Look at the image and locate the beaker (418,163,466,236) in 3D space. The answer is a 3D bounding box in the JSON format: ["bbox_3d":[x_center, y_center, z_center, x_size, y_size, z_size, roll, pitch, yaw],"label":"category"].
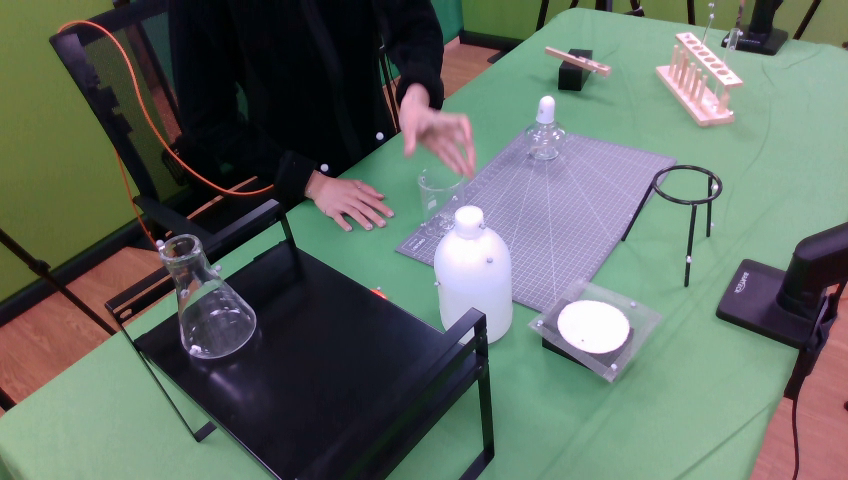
[{"bbox_3d":[0.035,-0.065,0.990,0.073,0.101,0.084,24,49,32],"label":"beaker"}]

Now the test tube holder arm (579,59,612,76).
[{"bbox_3d":[0.362,-0.368,1.289,0.010,0.015,0.087,-25,43,-31],"label":"test tube holder arm"}]

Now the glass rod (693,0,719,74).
[{"bbox_3d":[0.560,-0.401,1.214,0.008,0.200,0.008,-1,49,2],"label":"glass rod"}]

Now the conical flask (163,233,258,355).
[{"bbox_3d":[-0.216,0.051,0.601,0.075,0.122,0.075,-4,40,4],"label":"conical flask"}]

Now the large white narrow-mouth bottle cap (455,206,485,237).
[{"bbox_3d":[0.056,-0.023,0.734,0.038,0.024,0.037,-4,41,4],"label":"large white narrow-mouth bottle cap"}]

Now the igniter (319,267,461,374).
[{"bbox_3d":[-0.060,0.108,0.862,0.274,0.025,0.057,28,62,34],"label":"igniter"}]

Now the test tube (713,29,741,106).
[{"bbox_3d":[0.572,-0.324,1.146,0.017,0.151,0.017,-3,39,3],"label":"test tube"}]

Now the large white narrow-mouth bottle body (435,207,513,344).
[{"bbox_3d":[0.065,0.041,0.791,0.102,0.195,0.101,-4,41,4],"label":"large white narrow-mouth bottle body"}]

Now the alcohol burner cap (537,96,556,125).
[{"bbox_3d":[0.223,-0.237,1.095,0.034,0.048,0.033,0,42,1],"label":"alcohol burner cap"}]

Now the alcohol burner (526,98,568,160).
[{"bbox_3d":[0.228,-0.209,1.118,0.078,0.119,0.077,-5,43,5],"label":"alcohol burner"}]

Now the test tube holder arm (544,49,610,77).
[{"bbox_3d":[0.330,-0.386,1.314,0.013,0.015,0.177,-25,43,-31],"label":"test tube holder arm"}]

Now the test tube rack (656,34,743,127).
[{"bbox_3d":[0.553,-0.330,1.233,0.067,0.085,0.241,-7,40,2],"label":"test tube rack"}]

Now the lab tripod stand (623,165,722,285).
[{"bbox_3d":[0.365,-0.030,0.875,0.148,0.132,0.147,-6,41,6],"label":"lab tripod stand"}]

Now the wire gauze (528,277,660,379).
[{"bbox_3d":[0.213,0.103,0.763,0.124,0.011,0.122,30,52,35],"label":"wire gauze"}]
